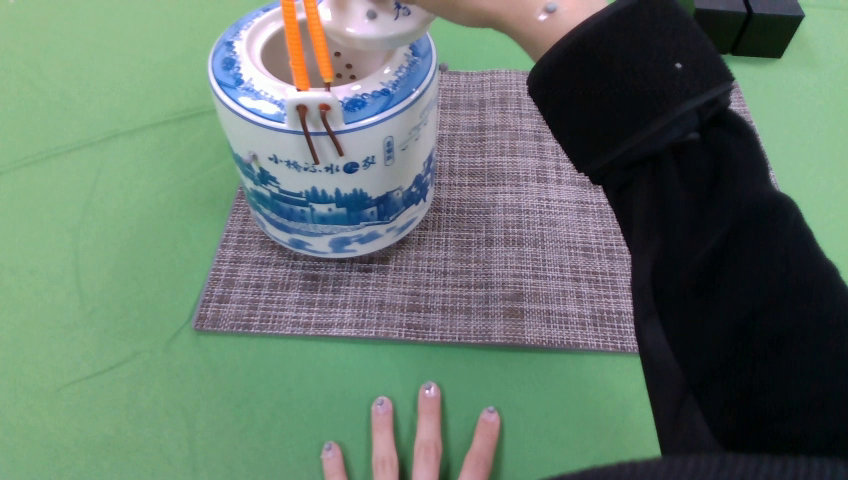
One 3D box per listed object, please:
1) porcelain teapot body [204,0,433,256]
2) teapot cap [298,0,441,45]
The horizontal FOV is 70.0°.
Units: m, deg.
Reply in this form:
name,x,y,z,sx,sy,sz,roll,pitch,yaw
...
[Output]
name,x,y,z,sx,sy,sz,roll,pitch,yaw
porcelain teapot body,-0.068,-0.124,0.419,0.145,0.227,0.203,-3,53,-3
teapot cap,-0.031,-0.148,0.349,0.085,0.044,0.084,-1,53,2
